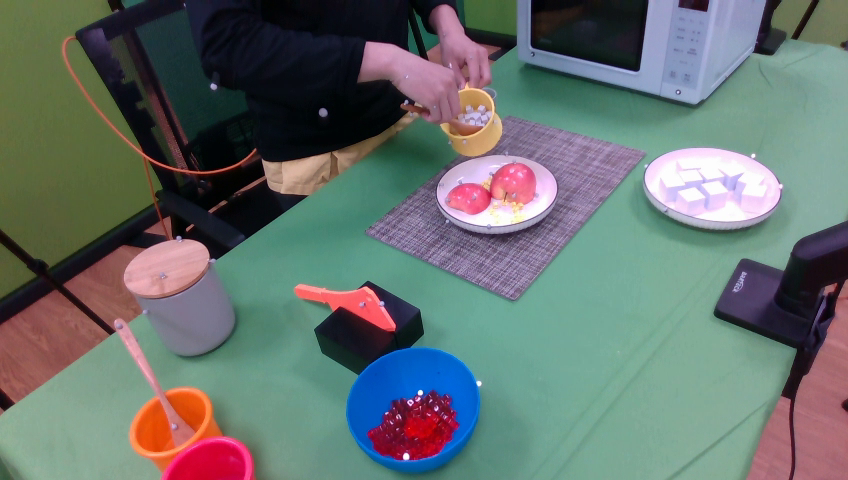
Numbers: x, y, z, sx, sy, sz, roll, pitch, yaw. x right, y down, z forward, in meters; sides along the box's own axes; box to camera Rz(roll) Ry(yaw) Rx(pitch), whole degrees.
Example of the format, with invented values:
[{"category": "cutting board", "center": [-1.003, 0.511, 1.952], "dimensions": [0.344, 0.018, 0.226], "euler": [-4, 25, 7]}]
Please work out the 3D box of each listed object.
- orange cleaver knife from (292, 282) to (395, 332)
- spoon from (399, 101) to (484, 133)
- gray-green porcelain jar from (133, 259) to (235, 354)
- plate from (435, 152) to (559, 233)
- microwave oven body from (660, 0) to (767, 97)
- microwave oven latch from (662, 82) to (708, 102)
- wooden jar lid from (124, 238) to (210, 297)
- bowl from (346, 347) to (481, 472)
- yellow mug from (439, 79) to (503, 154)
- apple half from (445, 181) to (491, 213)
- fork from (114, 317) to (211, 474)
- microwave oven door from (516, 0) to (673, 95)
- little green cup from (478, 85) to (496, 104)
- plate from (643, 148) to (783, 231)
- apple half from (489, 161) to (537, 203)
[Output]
[{"category": "orange cleaver knife", "center": [-0.116, 0.091, 0.835], "dimensions": [0.209, 0.077, 0.012], "euler": [2, 32, 48]}, {"category": "spoon", "center": [0.030, -0.203, 0.996], "dimensions": [0.041, 0.195, 0.021], "euler": [-16, 71, 43]}, {"category": "gray-green porcelain jar", "center": [-0.328, 0.086, 0.836], "dimensions": [0.106, 0.127, 0.105], "euler": [-4, 41, 4]}, {"category": "plate", "center": [0.124, -0.078, 1.026], "dimensions": [0.209, 0.038, 0.208], "euler": [-4, 40, 4]}, {"category": "microwave oven body", "center": [0.473, -0.516, 1.313], "dimensions": [0.438, 0.261, 0.327], "euler": [26, 51, 34]}, {"category": "microwave oven latch", "center": [0.517, -0.298, 1.202], "dimensions": [0.078, 0.029, 0.030], "euler": [27, 52, 34]}, {"category": "wooden jar lid", "center": [-0.335, 0.039, 0.794], "dimensions": [0.108, 0.021, 0.108], "euler": [-2, 40, 2]}, {"category": "bowl", "center": [-0.008, 0.205, 0.691], "dimensions": [0.151, 0.077, 0.150], "euler": [-4, 40, 4]}, {"category": "yellow mug", "center": [0.082, -0.224, 1.066], "dimensions": [0.099, 0.064, 0.130], "euler": [-8, 66, 17]}, {"category": "apple half", "center": [0.076, -0.083, 1.029], "dimensions": [0.081, 0.033, 0.081], "euler": [-2, 42, 2]}, {"category": "fork", "center": [-0.309, 0.179, 0.708], "dimensions": [0.028, 0.018, 0.207], "euler": [-30, 89, -24]}, {"category": "microwave oven door", "center": [0.344, -0.458, 1.256], "dimensions": [0.353, 0.245, 0.039], "euler": [26, 51, 33]}, {"category": "little green cup", "center": [0.124, -0.298, 1.285], "dimensions": [0.061, 0.039, 0.061], "euler": [-5, 42, 5]}, {"category": "plate", "center": [0.464, -0.080, 0.986], "dimensions": [0.207, 0.039, 0.206], "euler": [-4, 41, 4]}, {"category": "apple half", "center": [0.154, -0.106, 1.030], "dimensions": [0.080, 0.053, 0.075], "euler": [21, 46, 31]}]
